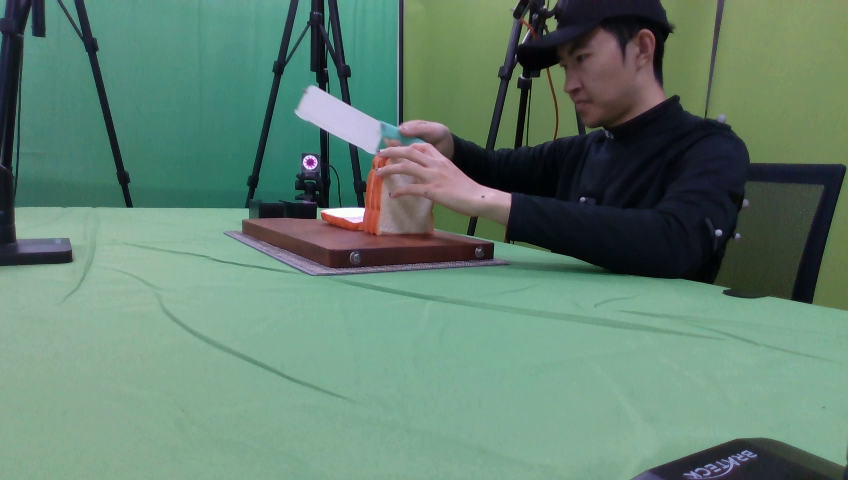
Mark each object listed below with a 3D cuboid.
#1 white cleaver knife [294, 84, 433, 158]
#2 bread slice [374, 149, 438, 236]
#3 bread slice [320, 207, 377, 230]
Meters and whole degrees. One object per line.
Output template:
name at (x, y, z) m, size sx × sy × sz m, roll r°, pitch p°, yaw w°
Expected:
white cleaver knife at (-0.099, -0.194, 1.082) m, size 0.288 × 0.066 × 0.021 m, roll 20°, pitch 2°, yaw -34°
bread slice at (-0.027, -0.072, 0.933) m, size 0.107 × 0.134 × 0.018 m, roll -5°, pitch 13°, yaw -35°
bread slice at (-0.114, -0.038, 1.042) m, size 0.105 × 0.019 × 0.131 m, roll -6°, pitch 15°, yaw -40°
